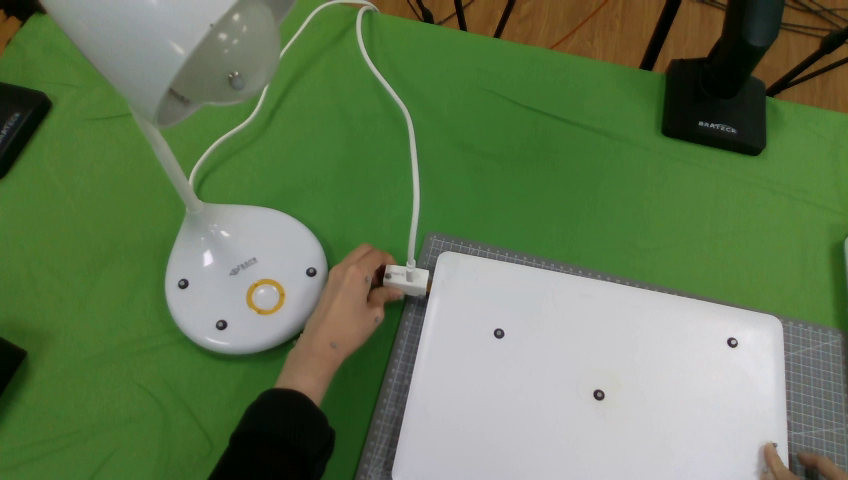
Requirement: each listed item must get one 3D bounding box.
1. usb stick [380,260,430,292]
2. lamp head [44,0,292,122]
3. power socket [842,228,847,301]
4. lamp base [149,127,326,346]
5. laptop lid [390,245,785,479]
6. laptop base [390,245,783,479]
[{"bbox_3d":[-0.014,0.037,0.613,0.059,0.027,0.021,7,54,1],"label":"usb stick"},{"bbox_3d":[-0.130,-0.132,0.277,0.123,0.112,0.112,40,67,-9],"label":"lamp head"},{"bbox_3d":[0.478,0.078,0.619,0.072,0.033,0.225,13,64,3],"label":"power socket"},{"bbox_3d":[-0.188,-0.011,0.553,0.178,0.181,0.160,39,68,19],"label":"lamp base"},{"bbox_3d":[0.162,0.140,0.571,0.356,0.013,0.240,12,67,4],"label":"laptop lid"},{"bbox_3d":[0.162,0.143,0.583,0.354,0.023,0.234,11,67,3],"label":"laptop base"}]
